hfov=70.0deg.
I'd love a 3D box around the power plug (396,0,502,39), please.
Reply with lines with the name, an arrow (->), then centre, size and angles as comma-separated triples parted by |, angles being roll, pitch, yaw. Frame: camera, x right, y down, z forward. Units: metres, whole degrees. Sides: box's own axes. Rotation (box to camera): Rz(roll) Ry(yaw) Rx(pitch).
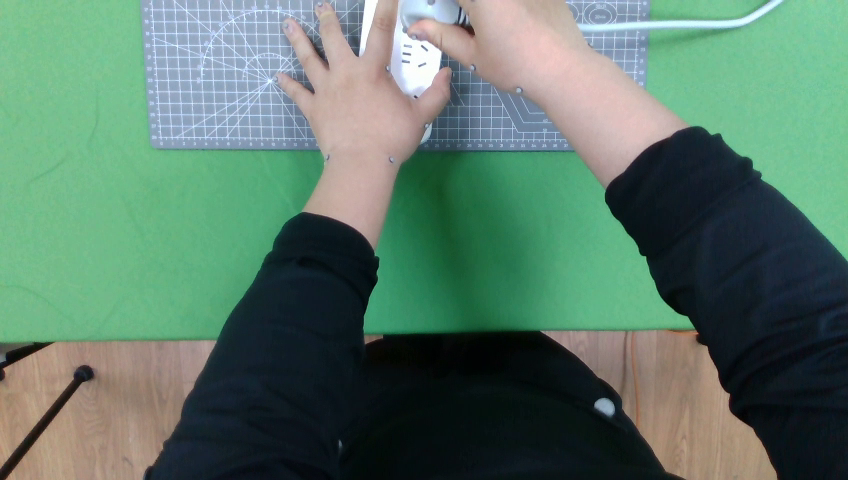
power plug -> 0.014, -0.162, 0.454 | 0.073, 0.052, 0.035 | 22, 90, -15

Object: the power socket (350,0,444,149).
power socket -> -0.018, -0.193, 0.524 | 0.072, 0.032, 0.227 | 8, 100, -4
